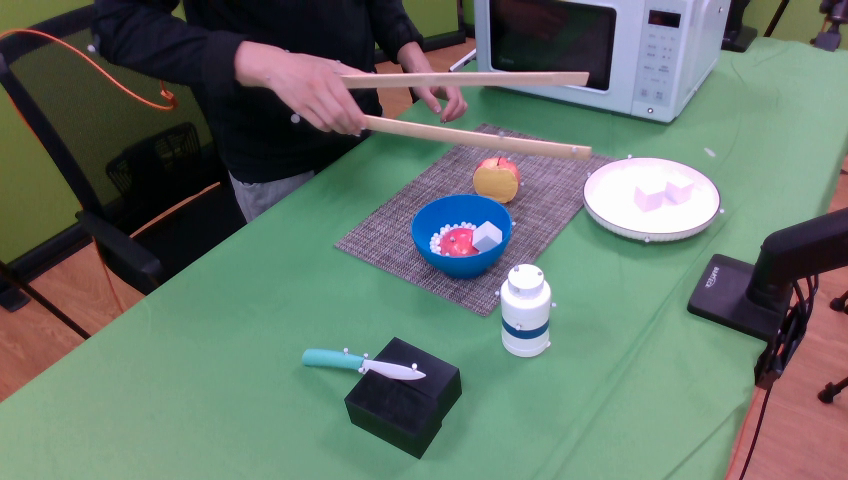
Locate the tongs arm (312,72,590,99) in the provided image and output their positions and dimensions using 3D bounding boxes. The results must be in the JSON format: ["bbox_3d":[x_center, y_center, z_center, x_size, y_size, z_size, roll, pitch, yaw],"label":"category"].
[{"bbox_3d":[0.039,-0.219,0.850,0.388,0.028,0.028,-1,64,-1],"label":"tongs arm"}]

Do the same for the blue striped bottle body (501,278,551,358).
[{"bbox_3d":[0.129,0.089,0.769,0.063,0.121,0.063,-4,40,4],"label":"blue striped bottle body"}]

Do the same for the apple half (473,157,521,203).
[{"bbox_3d":[0.128,-0.107,1.030,0.080,0.075,0.053,5,38,19],"label":"apple half"}]

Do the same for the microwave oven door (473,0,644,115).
[{"bbox_3d":[0.257,-0.396,1.199,0.353,0.245,0.039,21,48,29],"label":"microwave oven door"}]

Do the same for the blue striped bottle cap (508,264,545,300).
[{"bbox_3d":[0.125,0.050,0.735,0.044,0.021,0.044,-5,39,5],"label":"blue striped bottle cap"}]

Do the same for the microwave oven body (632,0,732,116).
[{"bbox_3d":[0.377,-0.462,1.267,0.438,0.261,0.327,21,48,30],"label":"microwave oven body"}]

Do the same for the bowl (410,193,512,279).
[{"bbox_3d":[0.058,0.005,0.905,0.151,0.077,0.150,-4,40,4],"label":"bowl"}]

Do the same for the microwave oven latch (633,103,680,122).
[{"bbox_3d":[0.444,-0.249,1.157,0.078,0.029,0.030,21,48,30],"label":"microwave oven latch"}]

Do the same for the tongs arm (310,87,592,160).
[{"bbox_3d":[0.030,-0.157,0.812,0.384,0.026,0.050,8,61,5],"label":"tongs arm"}]

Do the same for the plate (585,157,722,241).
[{"bbox_3d":[0.367,-0.063,0.979,0.207,0.039,0.206,-4,40,4],"label":"plate"}]

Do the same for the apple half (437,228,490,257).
[{"bbox_3d":[0.055,0.002,0.901,0.081,0.033,0.081,-3,40,3],"label":"apple half"}]

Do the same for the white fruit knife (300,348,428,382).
[{"bbox_3d":[-0.079,0.154,0.748,0.206,0.027,0.016,1,20,35],"label":"white fruit knife"}]
